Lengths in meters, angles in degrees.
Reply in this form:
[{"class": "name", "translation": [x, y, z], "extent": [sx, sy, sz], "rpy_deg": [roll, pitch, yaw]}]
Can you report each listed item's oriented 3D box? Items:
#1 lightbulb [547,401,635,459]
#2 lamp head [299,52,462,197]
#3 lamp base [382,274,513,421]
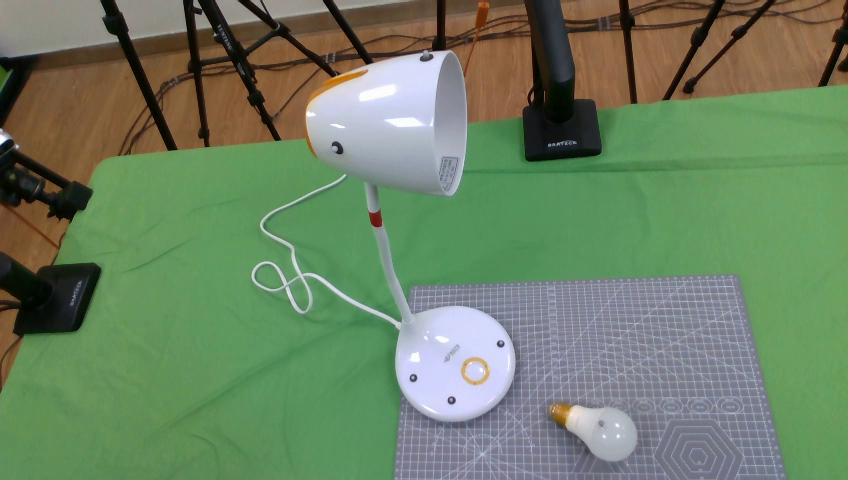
[{"class": "lightbulb", "translation": [0.196, 0.218, 0.718], "extent": [0.107, 0.060, 0.059], "rpy_deg": [14, 60, 39]}, {"class": "lamp head", "translation": [-0.034, -0.088, 0.490], "extent": [0.122, 0.113, 0.111], "rpy_deg": [-2, 57, 19]}, {"class": "lamp base", "translation": [0.013, 0.115, 0.744], "extent": [0.178, 0.182, 0.160], "rpy_deg": [20, 63, 26]}]
